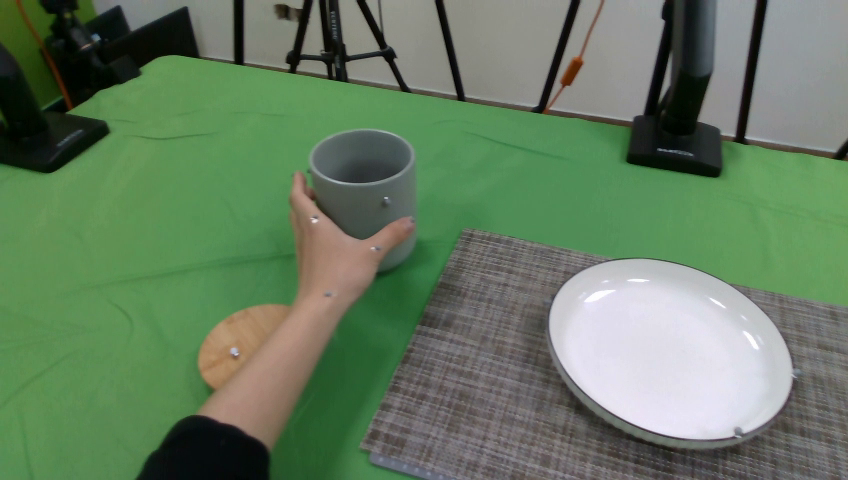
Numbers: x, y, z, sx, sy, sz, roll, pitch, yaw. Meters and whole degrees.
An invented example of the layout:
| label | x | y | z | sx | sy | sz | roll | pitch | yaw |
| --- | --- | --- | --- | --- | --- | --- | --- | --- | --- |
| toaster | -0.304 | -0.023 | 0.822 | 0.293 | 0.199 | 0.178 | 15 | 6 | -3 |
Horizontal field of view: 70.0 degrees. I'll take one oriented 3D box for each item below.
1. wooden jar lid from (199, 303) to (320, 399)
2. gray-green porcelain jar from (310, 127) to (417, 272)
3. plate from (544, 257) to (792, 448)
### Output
| label | x | y | z | sx | sy | sz | roll | pitch | yaw |
| --- | --- | --- | --- | --- | --- | --- | --- | --- | --- |
| wooden jar lid | -0.150 | 0.103 | 0.558 | 0.108 | 0.021 | 0.107 | 1 | 41 | -1 |
| gray-green porcelain jar | -0.060 | -0.038 | 0.639 | 0.106 | 0.127 | 0.105 | 0 | 41 | 0 |
| plate | 0.210 | 0.098 | 0.544 | 0.208 | 0.039 | 0.205 | 0 | 41 | 0 |
